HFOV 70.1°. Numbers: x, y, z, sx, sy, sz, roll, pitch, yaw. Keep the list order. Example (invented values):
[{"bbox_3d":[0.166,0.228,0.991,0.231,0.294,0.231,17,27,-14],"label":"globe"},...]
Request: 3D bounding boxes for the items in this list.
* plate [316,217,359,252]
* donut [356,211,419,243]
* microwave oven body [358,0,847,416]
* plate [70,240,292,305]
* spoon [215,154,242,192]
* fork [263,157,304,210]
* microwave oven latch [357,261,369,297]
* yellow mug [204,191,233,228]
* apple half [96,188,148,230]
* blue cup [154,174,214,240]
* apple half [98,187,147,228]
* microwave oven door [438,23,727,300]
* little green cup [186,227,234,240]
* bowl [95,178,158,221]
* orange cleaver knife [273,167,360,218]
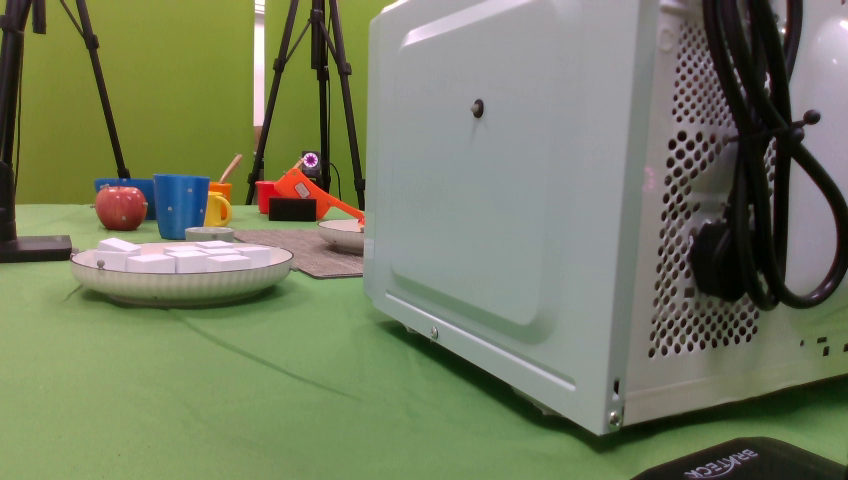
[{"bbox_3d":[-0.064,-0.007,0.943,0.209,0.038,0.209,3,8,0],"label":"plate"},{"bbox_3d":[-0.057,-0.019,0.945,0.099,0.048,0.099,5,6,0],"label":"donut"},{"bbox_3d":[0.211,-0.047,0.474,0.444,0.260,0.324,-1,7,-28],"label":"microwave oven body"},{"bbox_3d":[-0.242,0.031,0.618,0.208,0.039,0.207,2,8,0],"label":"plate"},{"bbox_3d":[-0.439,-0.124,1.318,0.041,0.193,0.022,6,-36,15],"label":"spoon"},{"bbox_3d":[-0.345,-0.143,1.506,0.028,0.019,0.207,-4,46,29],"label":"fork"},{"bbox_3d":[-0.019,0.033,0.531,0.079,0.029,0.030,-1,7,-27],"label":"microwave oven latch"},{"bbox_3d":[-0.415,-0.057,1.131,0.130,0.064,0.100,6,8,16],"label":"yellow mug"},{"bbox_3d":[-0.517,-0.052,1.036,0.081,0.074,0.053,2,10,-26],"label":"apple half"},{"bbox_3d":[-0.391,-0.053,0.978,0.093,0.100,0.092,3,6,0],"label":"blue cup"},{"bbox_3d":[-0.534,-0.059,1.071,0.082,0.081,0.032,-1,12,-25],"label":"apple half"},{"bbox_3d":[0.181,-0.072,0.621,0.358,0.243,0.039,-2,8,-29],"label":"microwave oven door"},{"bbox_3d":[-0.285,0.005,0.805,0.061,0.038,0.061,2,8,0],"label":"little green cup"},{"bbox_3d":[-0.576,-0.081,1.217,0.151,0.077,0.151,3,8,0],"label":"bowl"},{"bbox_3d":[-0.238,-0.091,1.381,0.212,0.077,0.012,31,0,-19],"label":"orange cleaver knife"}]
